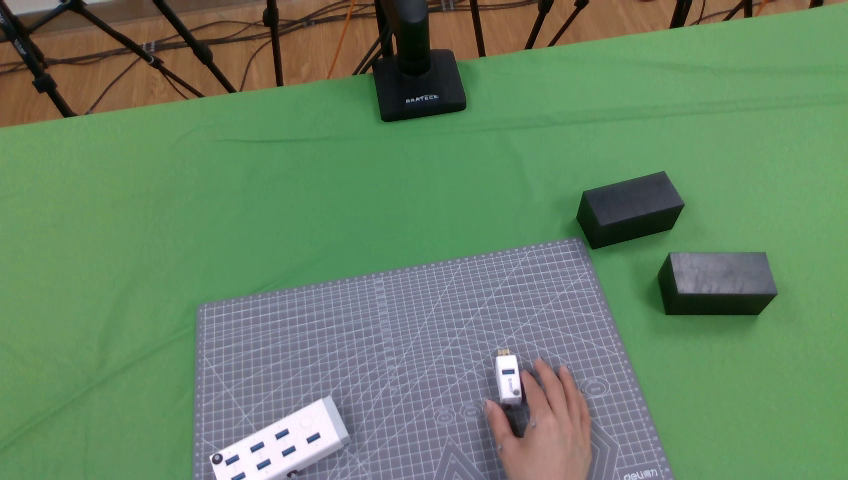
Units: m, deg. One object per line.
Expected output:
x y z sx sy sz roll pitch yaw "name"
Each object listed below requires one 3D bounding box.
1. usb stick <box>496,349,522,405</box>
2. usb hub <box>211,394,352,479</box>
0.085 0.135 0.617 0.021 0.027 0.058 -6 54 3 "usb stick"
-0.137 0.200 0.587 0.125 0.025 0.049 -25 59 -13 "usb hub"
